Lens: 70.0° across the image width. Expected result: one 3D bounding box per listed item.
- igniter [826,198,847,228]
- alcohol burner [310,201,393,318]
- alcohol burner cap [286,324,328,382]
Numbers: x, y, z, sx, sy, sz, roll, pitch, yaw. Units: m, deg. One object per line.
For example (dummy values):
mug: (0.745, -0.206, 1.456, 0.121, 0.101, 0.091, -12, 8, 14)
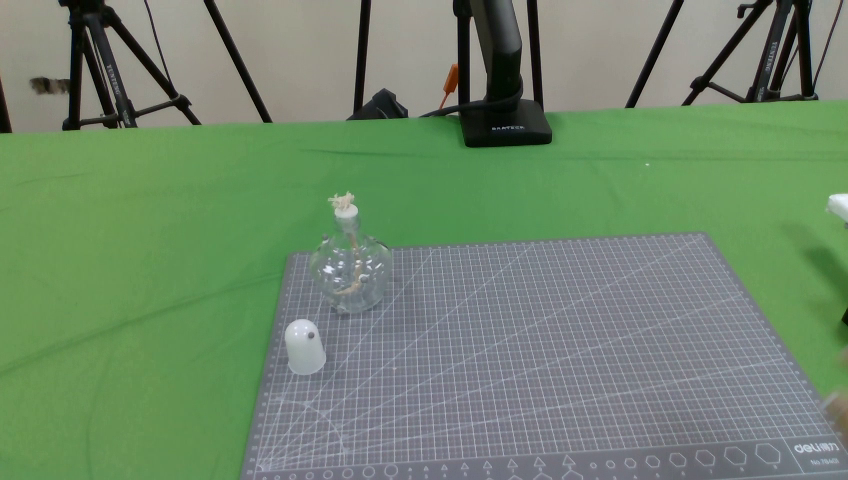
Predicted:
igniter: (0.438, 0.036, 0.503, 0.057, 0.025, 0.274, -4, 32, -4)
alcohol burner: (-0.067, 0.013, 0.553, 0.078, 0.120, 0.077, 0, 38, 0)
alcohol burner cap: (-0.100, 0.092, 0.509, 0.034, 0.048, 0.033, 0, 37, 1)
